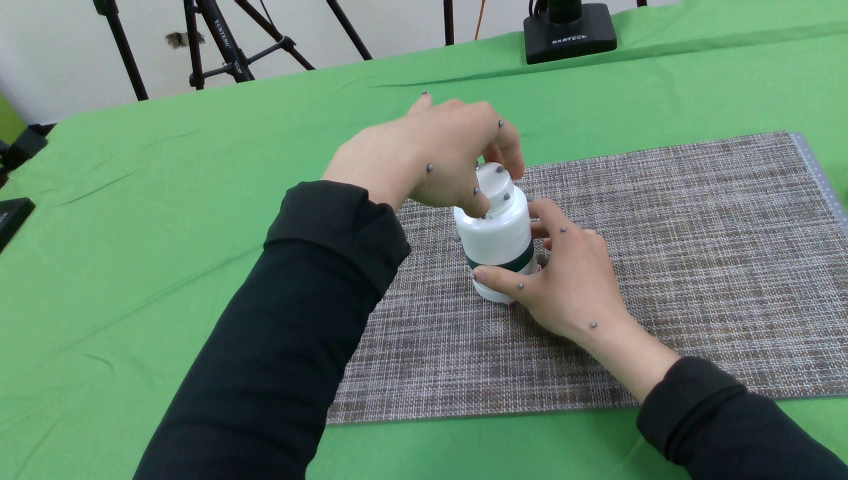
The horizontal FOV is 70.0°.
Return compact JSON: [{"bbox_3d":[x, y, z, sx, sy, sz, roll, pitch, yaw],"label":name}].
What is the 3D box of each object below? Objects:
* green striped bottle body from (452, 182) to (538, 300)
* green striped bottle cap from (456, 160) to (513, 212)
[{"bbox_3d":[0.062,-0.006,0.529,0.063,0.120,0.062,-10,45,10],"label":"green striped bottle body"},{"bbox_3d":[0.049,-0.043,0.490,0.044,0.020,0.044,-12,47,14],"label":"green striped bottle cap"}]
